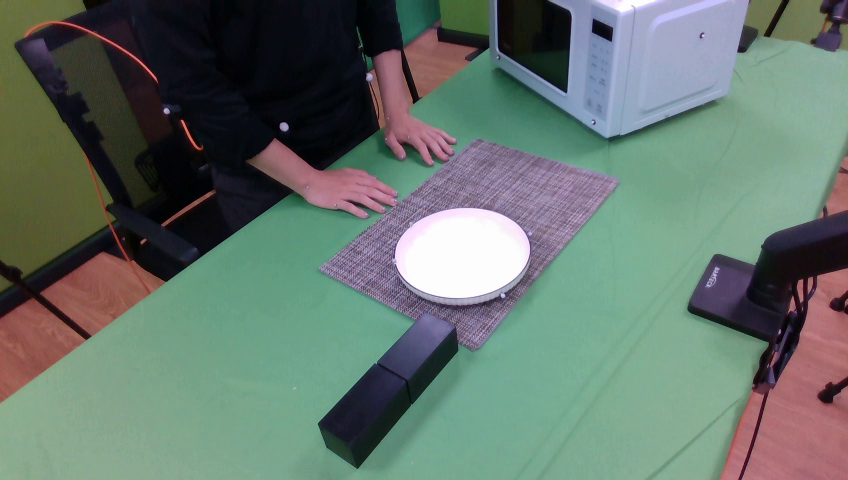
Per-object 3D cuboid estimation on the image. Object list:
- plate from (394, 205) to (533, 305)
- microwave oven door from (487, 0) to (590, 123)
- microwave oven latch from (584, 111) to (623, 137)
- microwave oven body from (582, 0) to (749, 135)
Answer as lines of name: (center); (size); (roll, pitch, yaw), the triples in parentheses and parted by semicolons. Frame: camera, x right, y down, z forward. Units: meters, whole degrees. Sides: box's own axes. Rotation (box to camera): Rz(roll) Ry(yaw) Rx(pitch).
plate: (0.059, 0.025, 0.915); (0.207, 0.039, 0.206); (-4, 41, 4)
microwave oven door: (0.232, -0.420, 1.231); (0.039, 0.245, 0.352); (-22, 43, -16)
microwave oven latch: (0.337, -0.222, 1.142); (0.030, 0.029, 0.078); (-21, 42, -14)
microwave oven body: (0.382, -0.444, 1.246); (0.327, 0.261, 0.437); (-22, 42, -16)
